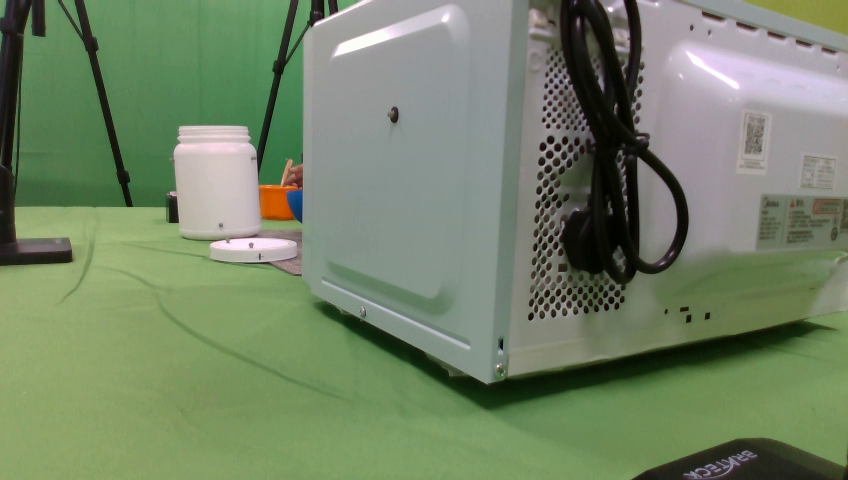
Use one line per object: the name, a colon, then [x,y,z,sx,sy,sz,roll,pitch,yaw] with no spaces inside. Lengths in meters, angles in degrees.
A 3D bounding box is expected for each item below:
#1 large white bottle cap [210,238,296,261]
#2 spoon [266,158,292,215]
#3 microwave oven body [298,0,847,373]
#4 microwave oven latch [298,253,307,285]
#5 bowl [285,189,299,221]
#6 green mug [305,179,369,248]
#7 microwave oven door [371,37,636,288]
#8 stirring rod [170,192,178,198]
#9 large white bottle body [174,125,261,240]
large white bottle cap: [-0.236,0.012,0.839,0.115,0.018,0.115,1,7,0]
spoon: [-0.334,-0.127,1.424,0.041,0.193,0.022,-1,-37,8]
microwave oven body: [0.151,-0.055,0.542,0.444,0.260,0.324,-2,7,-33]
microwave oven latch: [-0.081,0.027,0.582,0.079,0.029,0.030,-1,7,-32]
bowl: [-0.180,-0.050,1.113,0.151,0.077,0.151,3,8,0]
green mug: [-0.133,-0.045,0.977,0.092,0.105,0.126,6,8,32]
microwave oven door: [0.109,-0.080,0.687,0.358,0.243,0.039,-2,9,-33]
stirring rod: [-0.465,-0.098,1.283,0.014,0.006,0.177,42,21,17]
large white bottle body: [-0.349,-0.100,1.024,0.131,0.184,0.130,-1,9,0]
